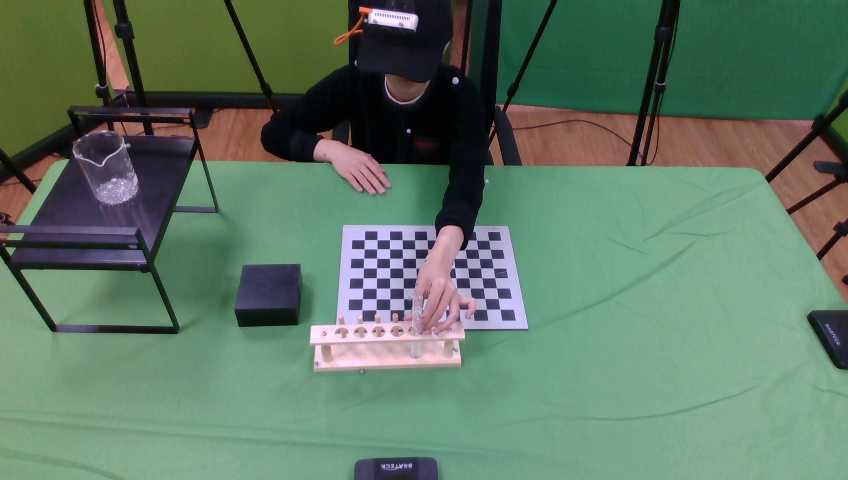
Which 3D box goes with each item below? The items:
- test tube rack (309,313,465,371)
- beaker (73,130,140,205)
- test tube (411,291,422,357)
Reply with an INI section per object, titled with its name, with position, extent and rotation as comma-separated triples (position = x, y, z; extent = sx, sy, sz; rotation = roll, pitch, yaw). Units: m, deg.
[test tube rack]
position = -0.059, 0.161, 0.990
extent = 0.242, 0.085, 0.066
rotation = -1, 46, -5
[beaker]
position = -0.500, -0.110, 0.963
extent = 0.074, 0.101, 0.083
rotation = -14, 49, -16
[test tube]
position = -0.012, 0.134, 0.949
extent = 0.017, 0.151, 0.017
rotation = 1, 43, -1
